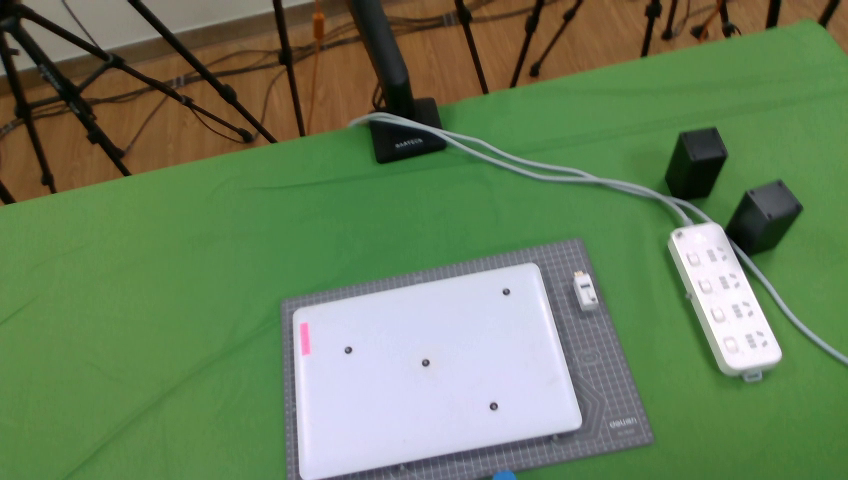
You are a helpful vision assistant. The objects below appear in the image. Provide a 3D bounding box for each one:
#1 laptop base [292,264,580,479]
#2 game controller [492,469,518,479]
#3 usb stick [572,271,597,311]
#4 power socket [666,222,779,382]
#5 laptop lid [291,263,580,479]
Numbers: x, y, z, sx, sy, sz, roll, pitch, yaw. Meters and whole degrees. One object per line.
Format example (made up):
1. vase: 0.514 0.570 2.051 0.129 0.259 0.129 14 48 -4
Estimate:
1. laptop base: 0.003 0.167 0.803 0.354 0.023 0.233 -11 62 1
2. game controller: 0.053 0.320 0.689 0.155 0.052 0.096 -11 54 1
3. usb stick: 0.216 0.065 0.826 0.021 0.027 0.058 -13 56 3
4. power socket: 0.387 0.073 0.797 0.072 0.033 0.224 -11 58 3
5. laptop lid: 0.002 0.163 0.792 0.357 0.013 0.239 -10 61 2
